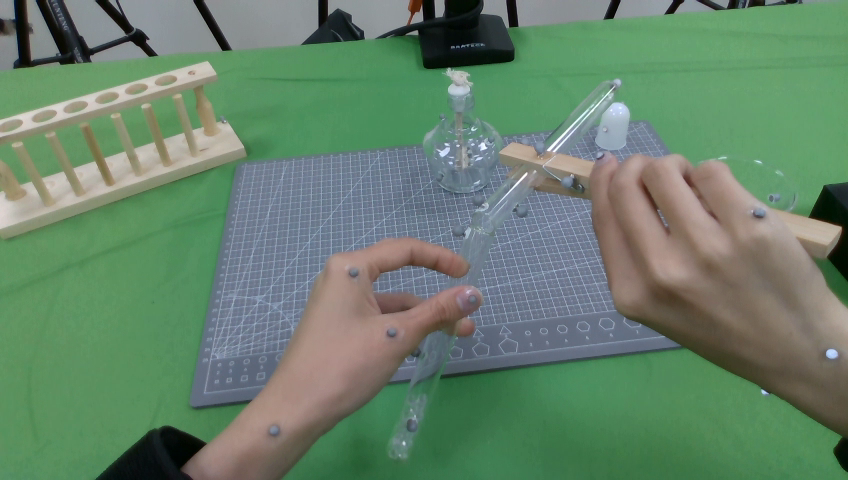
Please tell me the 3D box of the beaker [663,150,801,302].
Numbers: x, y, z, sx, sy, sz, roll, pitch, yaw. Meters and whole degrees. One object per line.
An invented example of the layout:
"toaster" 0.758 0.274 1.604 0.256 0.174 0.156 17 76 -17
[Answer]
"beaker" 0.227 -0.009 0.466 0.074 0.101 0.083 -28 48 -22

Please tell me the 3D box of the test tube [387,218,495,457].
"test tube" 0.008 0.058 0.345 0.017 0.151 0.017 19 12 -4

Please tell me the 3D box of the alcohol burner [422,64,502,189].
"alcohol burner" 0.035 -0.109 0.573 0.078 0.120 0.077 -3 43 3

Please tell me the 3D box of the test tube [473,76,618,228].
"test tube" 0.077 -0.057 0.363 0.017 0.017 0.150 27 57 29

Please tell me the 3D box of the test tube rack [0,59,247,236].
"test tube rack" -0.315 -0.098 0.610 0.243 0.086 0.066 -24 47 -19

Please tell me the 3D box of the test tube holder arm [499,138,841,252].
"test tube holder arm" 0.105 -0.028 0.300 0.015 0.013 0.176 -40 38 -22

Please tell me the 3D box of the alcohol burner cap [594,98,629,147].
"alcohol burner cap" 0.196 -0.125 0.630 0.034 0.048 0.033 -2 44 2

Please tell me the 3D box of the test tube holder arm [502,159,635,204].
"test tube holder arm" 0.079 -0.036 0.336 0.015 0.010 0.087 -40 37 -22
